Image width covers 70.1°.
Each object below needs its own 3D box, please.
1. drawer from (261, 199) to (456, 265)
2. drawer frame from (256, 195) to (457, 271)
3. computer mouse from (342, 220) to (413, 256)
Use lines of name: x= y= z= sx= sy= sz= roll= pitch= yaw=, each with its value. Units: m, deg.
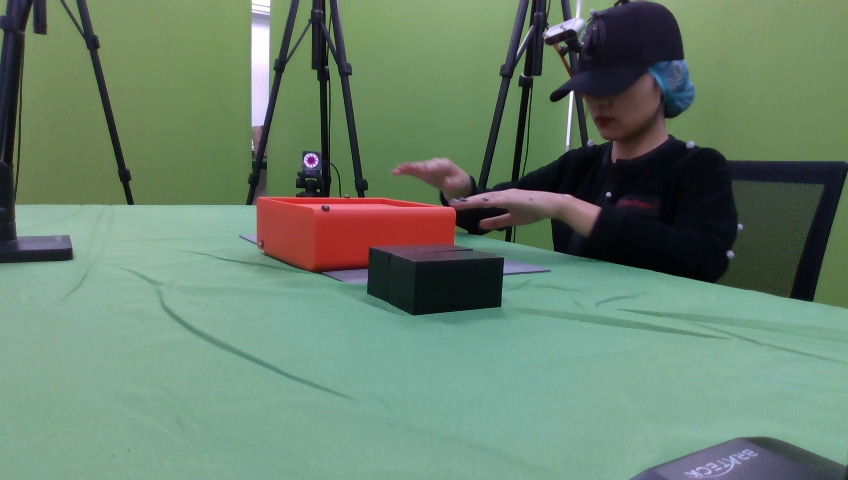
drawer: x=-0.094 y=-0.017 z=0.844 sx=0.213 sy=0.073 sz=0.193 roll=-3 pitch=10 yaw=-34
drawer frame: x=-0.097 y=-0.017 z=0.843 sx=0.215 sy=0.082 sz=0.200 roll=-4 pitch=10 yaw=-35
computer mouse: x=-0.067 y=-0.004 z=0.853 sx=0.063 sy=0.041 sz=0.116 roll=1 pitch=13 yaw=-33
